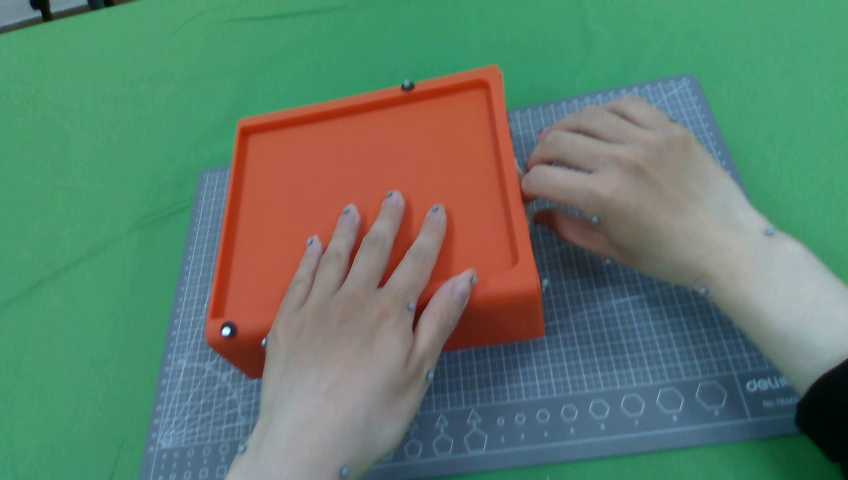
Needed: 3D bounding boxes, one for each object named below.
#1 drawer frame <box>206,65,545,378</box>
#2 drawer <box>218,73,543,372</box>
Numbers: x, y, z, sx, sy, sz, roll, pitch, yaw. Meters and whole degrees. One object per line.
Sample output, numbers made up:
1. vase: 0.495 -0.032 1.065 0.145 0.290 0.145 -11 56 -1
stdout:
1. drawer frame: -0.032 -0.015 0.446 0.213 0.083 0.199 -11 56 8
2. drawer: -0.029 -0.015 0.446 0.211 0.074 0.192 -10 56 8
